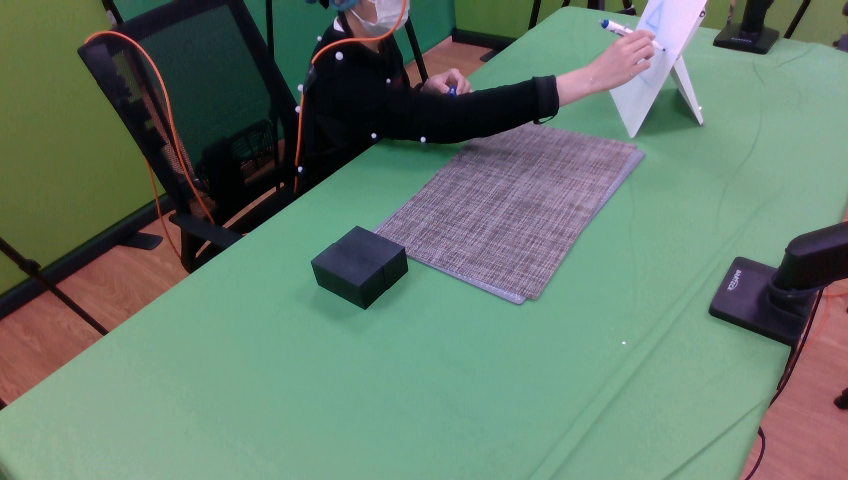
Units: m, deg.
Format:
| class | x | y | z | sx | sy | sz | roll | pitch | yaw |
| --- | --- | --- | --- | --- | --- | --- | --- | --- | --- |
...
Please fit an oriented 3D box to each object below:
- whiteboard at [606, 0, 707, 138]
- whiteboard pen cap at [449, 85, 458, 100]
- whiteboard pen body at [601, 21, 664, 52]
| class | x | y | z | sx | sy | sz | roll | pitch | yaw |
| --- | --- | --- | --- | --- | --- | --- | --- | --- | --- |
| whiteboard | 0.496 | -0.358 | 1.147 | 0.144 | 0.305 | 0.216 | 12 | 40 | -7 |
| whiteboard pen cap | 0.060 | -0.308 | 1.262 | 0.018 | 0.018 | 0.033 | 4 | 49 | 13 |
| whiteboard pen body | 0.368 | -0.354 | 1.060 | 0.142 | 0.017 | 0.017 | 13 | 35 | -23 |
